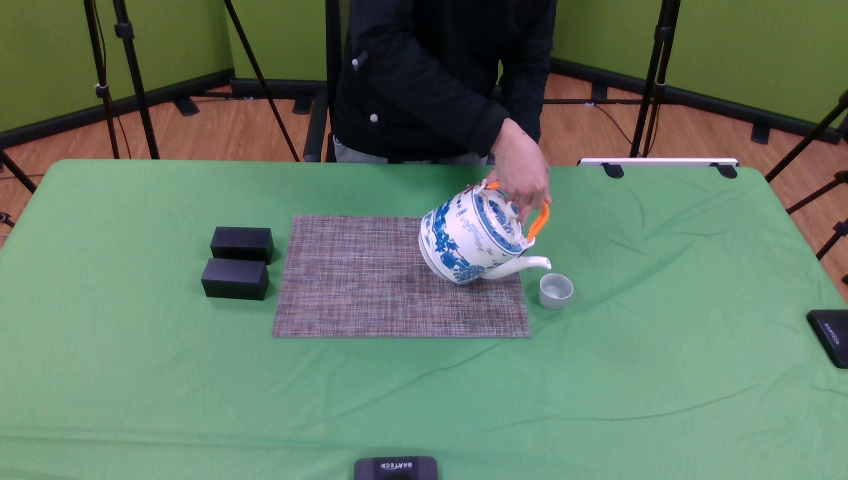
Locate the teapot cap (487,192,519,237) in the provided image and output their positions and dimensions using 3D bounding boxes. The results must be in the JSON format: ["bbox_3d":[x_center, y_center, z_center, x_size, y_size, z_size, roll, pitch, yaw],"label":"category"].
[{"bbox_3d":[0.136,-0.044,1.016,0.044,0.085,0.084,-28,35,32],"label":"teapot cap"}]

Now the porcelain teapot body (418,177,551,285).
[{"bbox_3d":[0.127,-0.007,1.049,0.206,0.225,0.144,46,34,-19],"label":"porcelain teapot body"}]

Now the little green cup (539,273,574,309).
[{"bbox_3d":[0.241,0.096,1.113,0.061,0.039,0.061,3,47,-2],"label":"little green cup"}]
